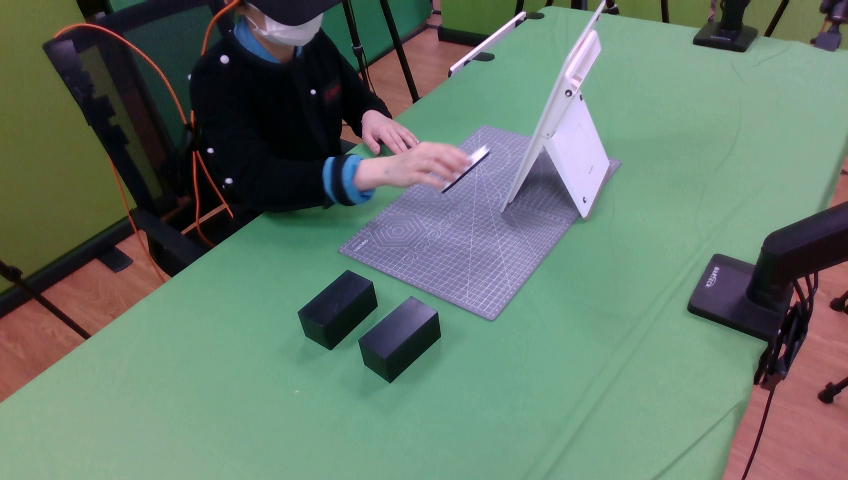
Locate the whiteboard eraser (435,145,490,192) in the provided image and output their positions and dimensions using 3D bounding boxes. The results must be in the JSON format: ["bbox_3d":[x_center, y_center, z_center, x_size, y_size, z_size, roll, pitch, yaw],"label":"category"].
[{"bbox_3d":[0.059,-0.109,0.927,0.101,0.019,0.041,-40,5,-7],"label":"whiteboard eraser"}]

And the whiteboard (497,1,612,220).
[{"bbox_3d":[0.259,-0.177,0.963,0.143,0.306,0.217,28,48,9],"label":"whiteboard"}]
